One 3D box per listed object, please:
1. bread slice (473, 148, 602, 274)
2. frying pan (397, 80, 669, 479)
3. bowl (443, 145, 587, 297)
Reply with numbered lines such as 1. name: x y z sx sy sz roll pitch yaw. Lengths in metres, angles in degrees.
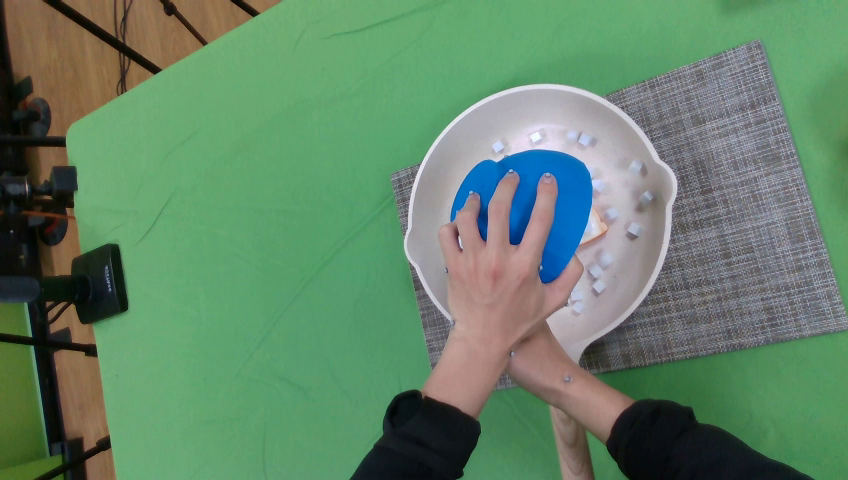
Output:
1. bread slice: 0.125 -0.024 0.704 0.134 0.018 0.106 -38 73 17
2. frying pan: 0.127 0.073 0.654 0.306 0.103 0.485 -13 74 26
3. bowl: 0.070 -0.030 0.564 0.152 0.077 0.150 -47 29 38
